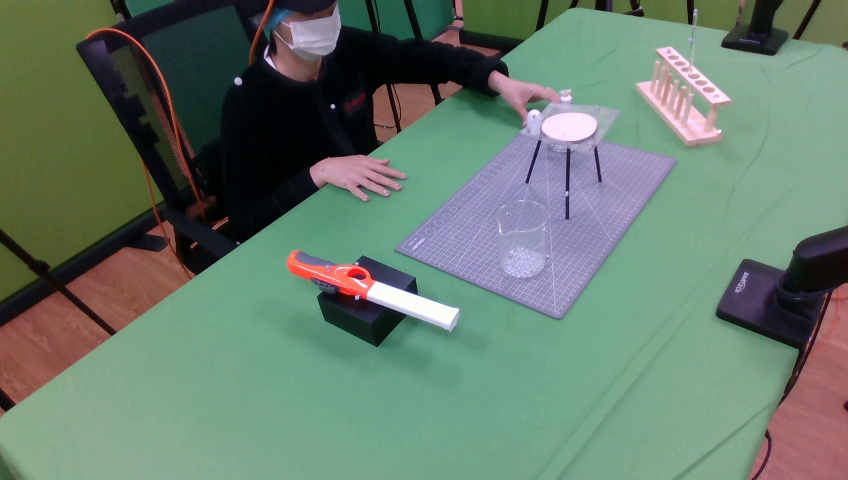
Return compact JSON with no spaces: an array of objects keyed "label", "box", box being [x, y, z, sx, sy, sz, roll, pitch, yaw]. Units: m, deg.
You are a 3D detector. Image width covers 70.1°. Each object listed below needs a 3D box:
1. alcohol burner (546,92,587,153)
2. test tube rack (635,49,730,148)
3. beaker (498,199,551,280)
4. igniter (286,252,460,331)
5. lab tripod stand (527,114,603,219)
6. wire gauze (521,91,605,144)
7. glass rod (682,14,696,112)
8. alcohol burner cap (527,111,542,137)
[{"label":"alcohol burner","box":[0.263,-0.223,1.124,0.078,0.119,0.077,-5,42,5]},{"label":"test tube rack","box":[0.497,-0.283,1.185,0.067,0.085,0.240,-10,40,-2]},{"label":"beaker","box":[0.144,0.003,0.884,0.073,0.101,0.084,28,52,36]},{"label":"igniter","box":[-0.080,0.067,0.832,0.275,0.025,0.057,17,46,22]},{"label":"lab tripod stand","box":[0.234,-0.129,1.002,0.148,0.132,0.147,-6,40,6]},{"label":"wire gauze","box":[0.219,-0.191,0.948,0.121,0.011,0.125,8,49,13]},{"label":"glass rod","box":[0.495,-0.326,1.132,0.008,0.201,0.008,-8,42,8]},{"label":"alcohol burner cap","box":[0.221,-0.233,1.200,0.034,0.048,0.033,-6,41,6]}]
